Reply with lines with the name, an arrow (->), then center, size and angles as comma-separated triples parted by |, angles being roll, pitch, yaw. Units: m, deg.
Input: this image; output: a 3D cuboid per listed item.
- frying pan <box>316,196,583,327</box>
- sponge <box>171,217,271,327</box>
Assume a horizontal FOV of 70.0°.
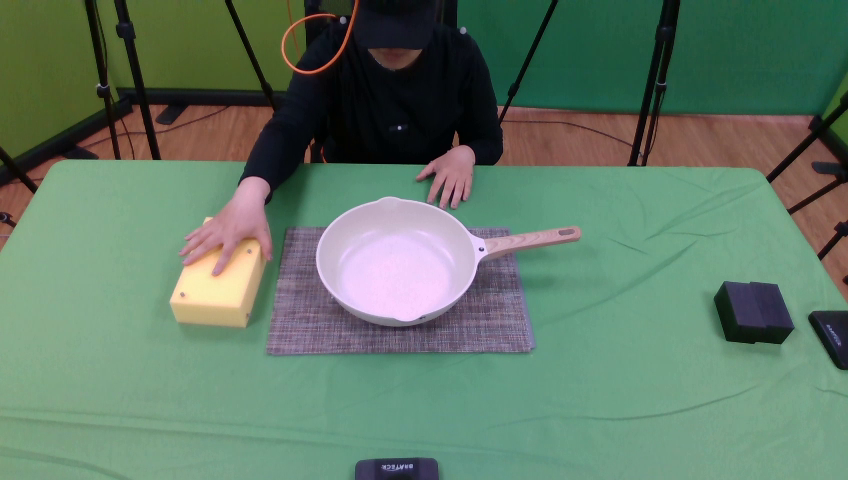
frying pan -> 0.054, 0.027, 1.114 | 0.488, 0.103, 0.304 | -9, 48, -1
sponge -> -0.360, 0.054, 1.094 | 0.118, 0.061, 0.205 | 3, 46, -1
